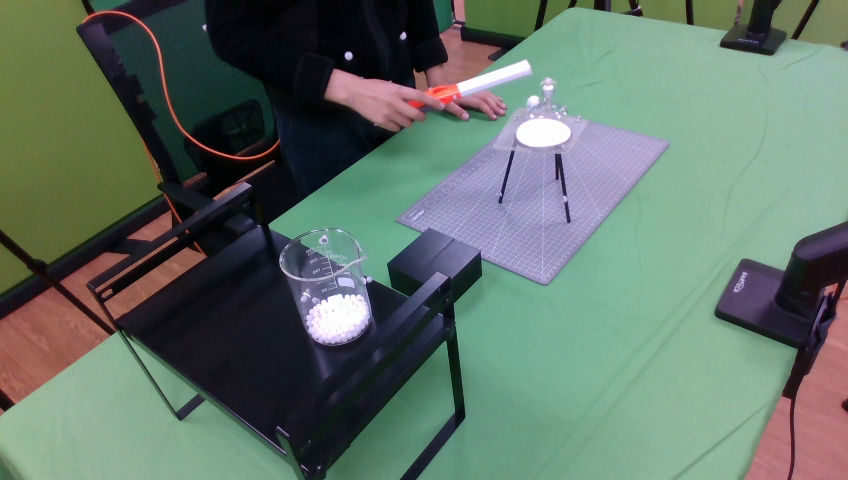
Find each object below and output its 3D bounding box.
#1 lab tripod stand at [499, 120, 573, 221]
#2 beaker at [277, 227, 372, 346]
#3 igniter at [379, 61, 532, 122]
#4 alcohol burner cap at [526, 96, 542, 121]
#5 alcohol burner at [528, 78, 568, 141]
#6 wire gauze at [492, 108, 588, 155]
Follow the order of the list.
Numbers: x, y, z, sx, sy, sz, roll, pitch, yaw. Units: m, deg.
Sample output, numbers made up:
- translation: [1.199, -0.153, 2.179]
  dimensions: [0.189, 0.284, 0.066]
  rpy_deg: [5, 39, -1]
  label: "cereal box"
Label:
- translation: [0.198, -0.117, 0.992]
  dimensions: [0.148, 0.132, 0.147]
  rpy_deg: [-3, 40, 3]
  label: "lab tripod stand"
- translation: [-0.090, 0.048, 0.593]
  dimensions: [0.084, 0.101, 0.073]
  rpy_deg: [-3, 41, 5]
  label: "beaker"
- translation: [0.053, -0.260, 1.066]
  dimensions: [0.276, 0.025, 0.057]
  rpy_deg: [-17, 42, 4]
  label: "igniter"
- translation: [0.225, -0.272, 1.243]
  dimensions: [0.034, 0.048, 0.033]
  rpy_deg: [-5, 40, 5]
  label: "alcohol burner cap"
- translation: [0.238, -0.253, 1.163]
  dimensions: [0.078, 0.119, 0.077]
  rpy_deg: [-6, 40, 6]
  label: "alcohol burner"
- translation: [0.185, -0.170, 0.953]
  dimensions: [0.121, 0.011, 0.125]
  rpy_deg: [13, 44, 22]
  label: "wire gauze"
